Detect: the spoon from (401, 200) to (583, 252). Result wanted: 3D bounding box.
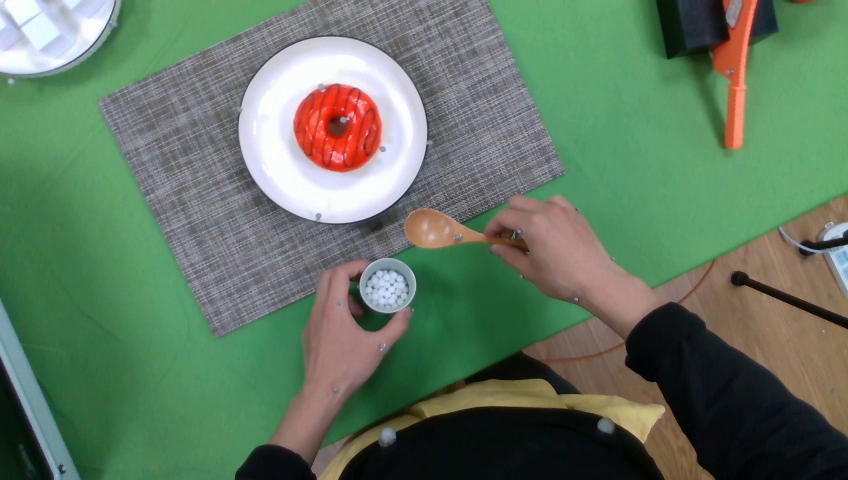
[{"bbox_3d":[0.072,-0.007,0.627,0.194,0.021,0.041,10,88,-3],"label":"spoon"}]

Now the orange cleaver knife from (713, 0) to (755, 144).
[{"bbox_3d":[0.340,-0.213,0.670,0.012,0.076,0.213,-10,122,1],"label":"orange cleaver knife"}]

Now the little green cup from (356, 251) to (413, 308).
[{"bbox_3d":[-0.043,0.045,0.666,0.061,0.039,0.061,1,74,-4],"label":"little green cup"}]

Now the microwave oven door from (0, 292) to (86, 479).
[{"bbox_3d":[-0.456,0.128,0.558,0.039,0.243,0.356,-23,93,-1],"label":"microwave oven door"}]

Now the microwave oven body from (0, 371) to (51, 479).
[{"bbox_3d":[-0.608,0.144,0.558,0.326,0.260,0.442,-22,93,-2],"label":"microwave oven body"}]

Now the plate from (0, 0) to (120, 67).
[{"bbox_3d":[-0.430,-0.291,0.661,0.208,0.039,0.207,0,92,-2],"label":"plate"}]

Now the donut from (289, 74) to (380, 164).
[{"bbox_3d":[-0.097,-0.132,0.665,0.099,0.048,0.099,0,94,-1],"label":"donut"}]

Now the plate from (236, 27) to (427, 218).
[{"bbox_3d":[-0.101,-0.128,0.676,0.209,0.038,0.209,0,93,-2],"label":"plate"}]
